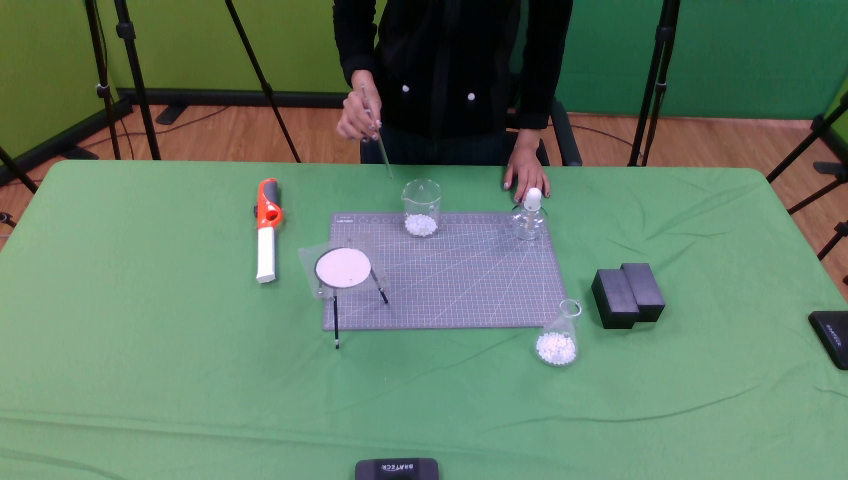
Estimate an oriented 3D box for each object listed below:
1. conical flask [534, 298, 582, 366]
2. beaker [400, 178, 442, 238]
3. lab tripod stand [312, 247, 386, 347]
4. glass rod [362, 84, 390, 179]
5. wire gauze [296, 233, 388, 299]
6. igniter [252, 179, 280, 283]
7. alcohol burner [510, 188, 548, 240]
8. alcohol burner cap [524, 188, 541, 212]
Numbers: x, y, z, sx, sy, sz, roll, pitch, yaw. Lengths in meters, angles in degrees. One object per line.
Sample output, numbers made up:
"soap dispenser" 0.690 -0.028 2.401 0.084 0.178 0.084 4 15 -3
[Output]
"conical flask" 0.229 0.149 1.005 0.075 0.122 0.075 2 46 -2
"beaker" -0.009 -0.059 1.200 0.084 0.101 0.073 -15 48 -17
"lab tripod stand" -0.134 0.085 1.028 0.148 0.132 0.147 2 45 -1
"glass rod" -0.089 -0.200 1.140 0.008 0.201 0.008 -9 38 7
"wire gauze" -0.133 0.041 0.977 0.125 0.011 0.120 -12 47 -16
"igniter" -0.312 -0.027 1.197 0.057 0.025 0.274 -12 47 -1
"alcohol burner" 0.211 -0.057 1.204 0.078 0.120 0.077 1 47 -1
"alcohol burner cap" 0.212 -0.081 1.177 0.034 0.048 0.033 -2 54 2
